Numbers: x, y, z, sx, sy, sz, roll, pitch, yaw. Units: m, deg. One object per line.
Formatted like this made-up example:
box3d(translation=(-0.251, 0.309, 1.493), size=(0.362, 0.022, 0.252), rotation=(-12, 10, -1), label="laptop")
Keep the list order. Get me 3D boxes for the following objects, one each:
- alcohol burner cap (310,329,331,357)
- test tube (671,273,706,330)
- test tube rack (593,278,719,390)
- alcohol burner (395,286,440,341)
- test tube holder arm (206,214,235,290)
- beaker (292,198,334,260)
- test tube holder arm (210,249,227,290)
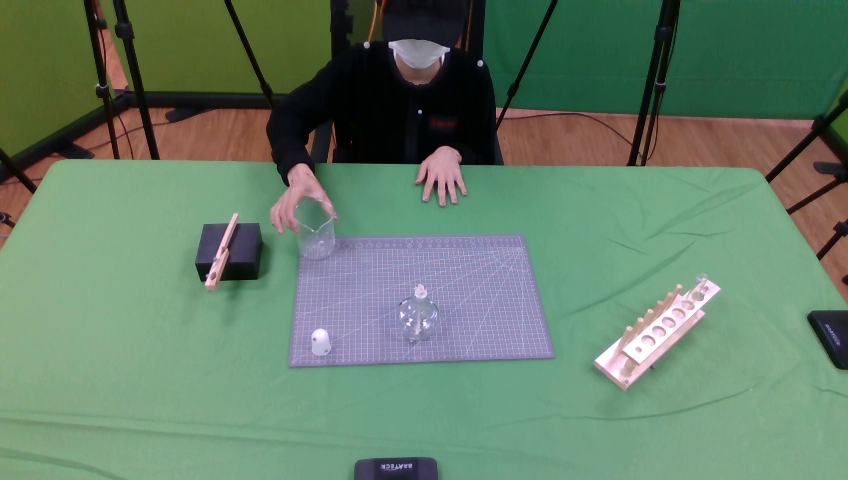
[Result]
box3d(translation=(-0.173, 0.168, 1.005), size=(0.034, 0.048, 0.033), rotation=(2, 46, -2), label="alcohol burner cap")
box3d(translation=(0.443, 0.106, 1.018), size=(0.017, 0.151, 0.017), rotation=(-1, 49, 1), label="test tube")
box3d(translation=(0.401, 0.148, 1.043), size=(0.242, 0.085, 0.066), rotation=(-30, 55, -29), label="test tube rack")
box3d(translation=(-0.010, 0.116, 1.018), size=(0.078, 0.119, 0.077), rotation=(3, 47, -3), label="alcohol burner")
box3d(translation=(-0.364, 0.017, 1.090), size=(0.013, 0.015, 0.177), rotation=(7, 45, -8), label="test tube holder arm")
box3d(translation=(-0.206, -0.016, 1.138), size=(0.074, 0.101, 0.083), rotation=(-7, 49, -12), label="beaker")
box3d(translation=(-0.359, 0.050, 1.059), size=(0.010, 0.015, 0.087), rotation=(8, 45, -8), label="test tube holder arm")
